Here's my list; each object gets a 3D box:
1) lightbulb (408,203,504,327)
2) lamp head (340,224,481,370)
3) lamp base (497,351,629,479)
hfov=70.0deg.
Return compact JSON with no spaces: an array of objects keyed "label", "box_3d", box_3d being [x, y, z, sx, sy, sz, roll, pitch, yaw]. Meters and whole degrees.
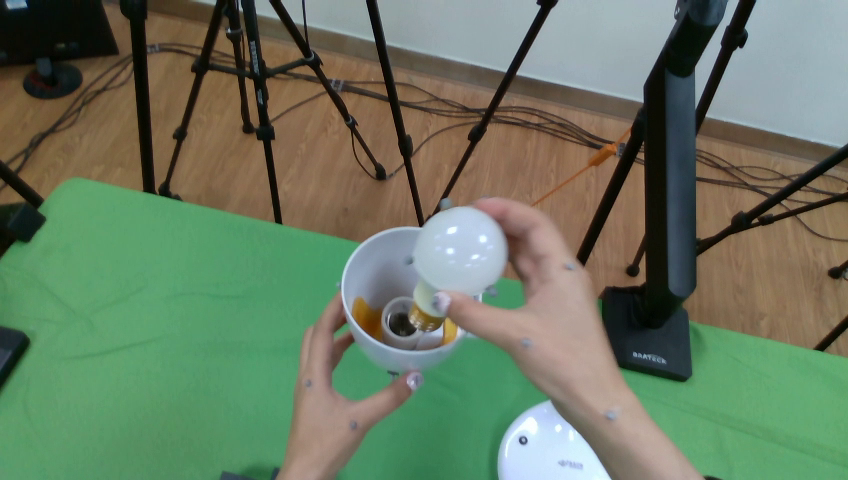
[{"label":"lightbulb","box_3d":[0.015,0.022,0.412,0.060,0.108,0.059,14,41,-13]},{"label":"lamp head","box_3d":[-0.011,0.062,0.521,0.112,0.124,0.111,1,59,-1]},{"label":"lamp base","box_3d":[0.172,0.212,0.667,0.161,0.181,0.177,1,53,-7]}]
